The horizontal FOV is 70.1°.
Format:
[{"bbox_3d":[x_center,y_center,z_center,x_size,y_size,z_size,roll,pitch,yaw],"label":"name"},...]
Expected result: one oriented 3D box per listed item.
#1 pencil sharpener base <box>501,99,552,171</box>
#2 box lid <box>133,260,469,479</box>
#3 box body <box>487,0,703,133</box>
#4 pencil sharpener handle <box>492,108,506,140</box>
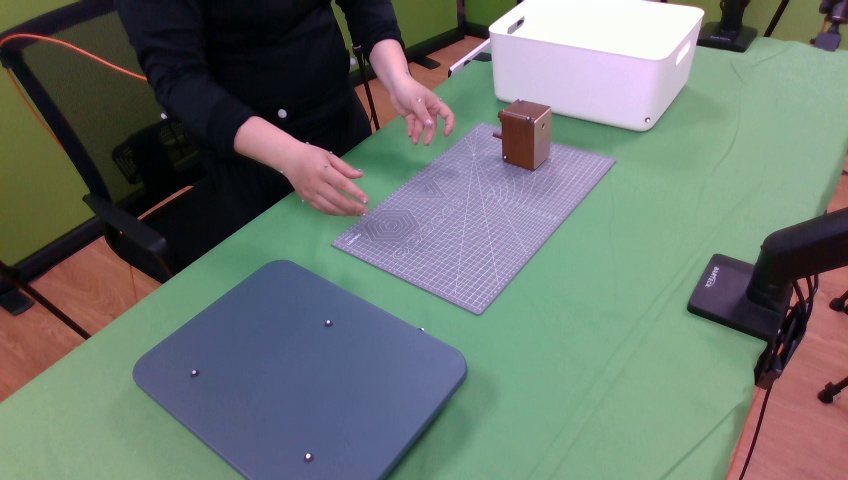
[{"bbox_3d":[0.184,-0.191,1.097,0.076,0.107,0.061,23,49,32],"label":"pencil sharpener base"},{"bbox_3d":[-0.156,0.160,0.747,0.368,0.015,0.264,23,49,31],"label":"box lid"},{"bbox_3d":[0.346,-0.374,1.251,0.361,0.161,0.255,20,48,29],"label":"box body"},{"bbox_3d":[0.141,-0.216,1.114,0.030,0.068,0.036,23,41,32],"label":"pencil sharpener handle"}]
